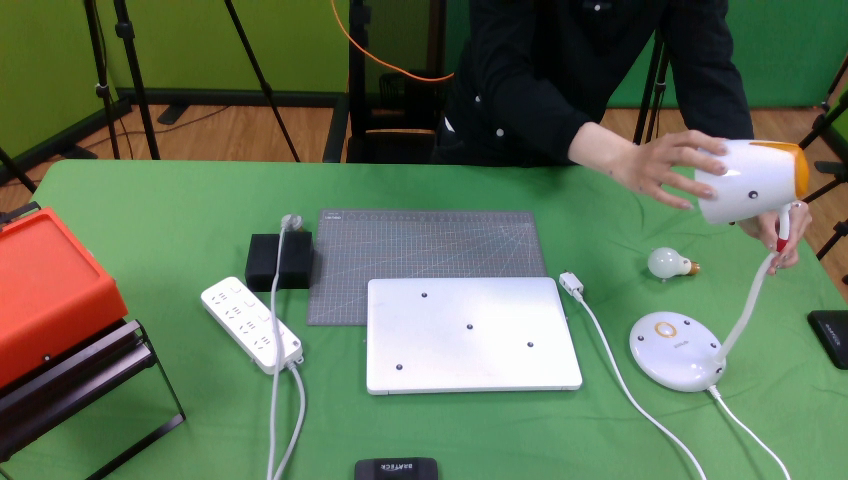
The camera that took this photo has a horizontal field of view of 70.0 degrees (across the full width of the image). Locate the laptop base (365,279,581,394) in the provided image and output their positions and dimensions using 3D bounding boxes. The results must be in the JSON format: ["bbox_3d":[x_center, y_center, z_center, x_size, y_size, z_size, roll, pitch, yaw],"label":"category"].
[{"bbox_3d":[0.077,0.162,1.053,0.355,0.023,0.234,0,44,-4],"label":"laptop base"}]

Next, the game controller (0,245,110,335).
[{"bbox_3d":[-0.510,0.062,0.830,0.097,0.052,0.154,-30,58,-30],"label":"game controller"}]

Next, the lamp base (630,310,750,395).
[{"bbox_3d":[0.447,0.143,0.983,0.161,0.181,0.178,-24,56,-24],"label":"lamp base"}]

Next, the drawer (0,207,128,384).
[{"bbox_3d":[-0.540,0.074,0.799,0.193,0.073,0.211,37,55,27],"label":"drawer"}]

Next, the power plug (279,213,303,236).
[{"bbox_3d":[-0.263,-0.021,1.184,0.035,0.053,0.072,-2,47,32],"label":"power plug"}]

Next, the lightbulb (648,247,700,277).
[{"bbox_3d":[0.485,0.046,1.169,0.108,0.060,0.059,10,45,-15],"label":"lightbulb"}]

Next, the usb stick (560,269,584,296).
[{"bbox_3d":[0.274,0.077,1.142,0.027,0.021,0.059,-11,39,-13],"label":"usb stick"}]

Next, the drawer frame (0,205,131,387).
[{"bbox_3d":[-0.539,0.075,0.795,0.200,0.083,0.213,36,55,26],"label":"drawer frame"}]

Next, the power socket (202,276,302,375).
[{"bbox_3d":[-0.296,0.142,1.034,0.072,0.033,0.225,-34,58,-30],"label":"power socket"}]

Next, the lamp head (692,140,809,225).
[{"bbox_3d":[0.422,-0.076,0.778,0.122,0.113,0.112,-1,37,39],"label":"lamp head"}]

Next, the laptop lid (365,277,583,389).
[{"bbox_3d":[0.077,0.152,1.046,0.357,0.013,0.240,1,45,-3],"label":"laptop lid"}]
